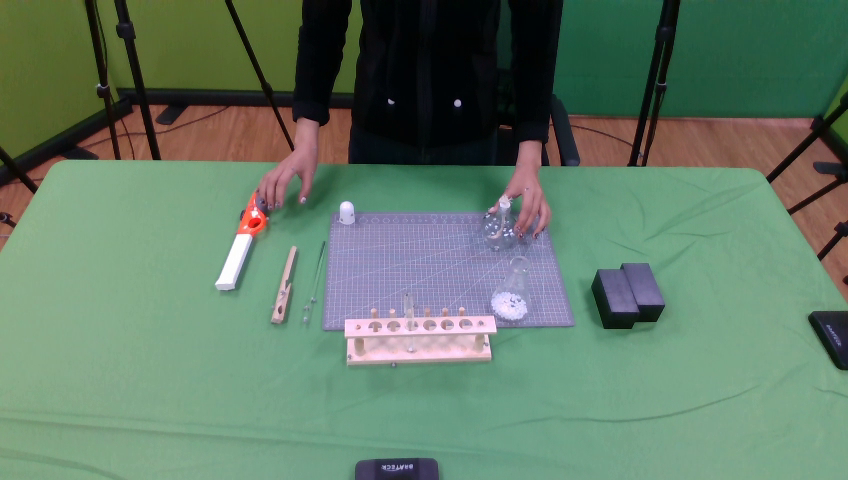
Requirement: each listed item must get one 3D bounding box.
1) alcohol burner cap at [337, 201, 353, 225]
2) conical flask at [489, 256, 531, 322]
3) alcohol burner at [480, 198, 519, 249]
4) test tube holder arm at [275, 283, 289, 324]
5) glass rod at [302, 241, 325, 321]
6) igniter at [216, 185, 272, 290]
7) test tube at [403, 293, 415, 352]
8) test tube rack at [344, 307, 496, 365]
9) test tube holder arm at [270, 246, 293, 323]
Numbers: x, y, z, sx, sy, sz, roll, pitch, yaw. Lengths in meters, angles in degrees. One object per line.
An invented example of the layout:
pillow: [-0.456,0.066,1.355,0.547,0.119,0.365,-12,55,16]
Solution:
alcohol burner cap: [-0.159,-0.056,1.224,0.034,0.048,0.033,2,47,-2]
conical flask: [0.158,0.081,1.061,0.075,0.122,0.075,2,46,-2]
alcohol burner: [0.150,-0.039,1.182,0.078,0.119,0.077,3,47,-3]
test tube holder arm: [-0.253,0.111,1.077,0.010,0.015,0.087,28,38,-26]
glass rod: [-0.203,0.071,1.124,0.008,0.008,0.198,4,44,1]
igniter: [-0.347,-0.014,1.182,0.057,0.025,0.275,-1,45,8]
test tube: [-0.024,0.133,0.957,0.017,0.151,0.017,0,49,0]
test tube rack: [-0.009,0.154,1.007,0.242,0.085,0.066,-1,46,-5]
test tube holder arm: [-0.259,0.076,1.106,0.013,0.015,0.177,28,38,-27]
